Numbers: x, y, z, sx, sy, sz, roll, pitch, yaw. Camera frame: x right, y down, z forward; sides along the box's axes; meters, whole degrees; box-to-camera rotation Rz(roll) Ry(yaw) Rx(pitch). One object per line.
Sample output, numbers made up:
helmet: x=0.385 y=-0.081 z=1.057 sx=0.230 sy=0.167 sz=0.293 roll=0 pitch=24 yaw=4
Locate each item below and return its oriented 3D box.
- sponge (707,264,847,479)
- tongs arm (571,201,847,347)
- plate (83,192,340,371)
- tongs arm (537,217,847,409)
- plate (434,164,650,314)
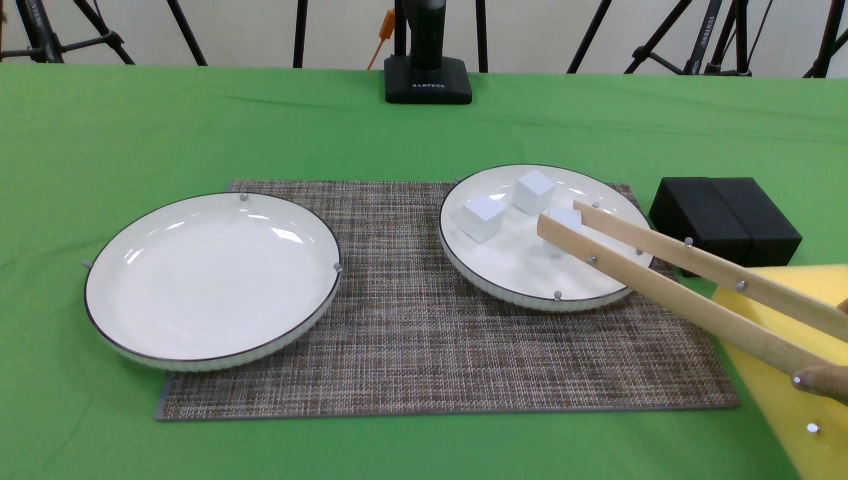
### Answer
sponge: x=0.325 y=0.112 z=0.473 sx=0.118 sy=0.061 sz=0.204 roll=-3 pitch=42 yaw=-7
tongs arm: x=0.253 y=0.052 z=0.448 sx=0.051 sy=0.027 sz=0.381 roll=-27 pitch=40 yaw=-33
plate: x=-0.177 y=0.034 z=0.529 sx=0.209 sy=0.038 sz=0.207 roll=3 pitch=41 yaw=-2
tongs arm: x=0.229 y=0.063 z=0.434 sx=0.028 sy=0.028 sz=0.383 roll=-22 pitch=37 yaw=-34
plate: x=0.113 y=-0.001 z=0.595 sx=0.208 sy=0.039 sz=0.205 roll=3 pitch=41 yaw=-2
